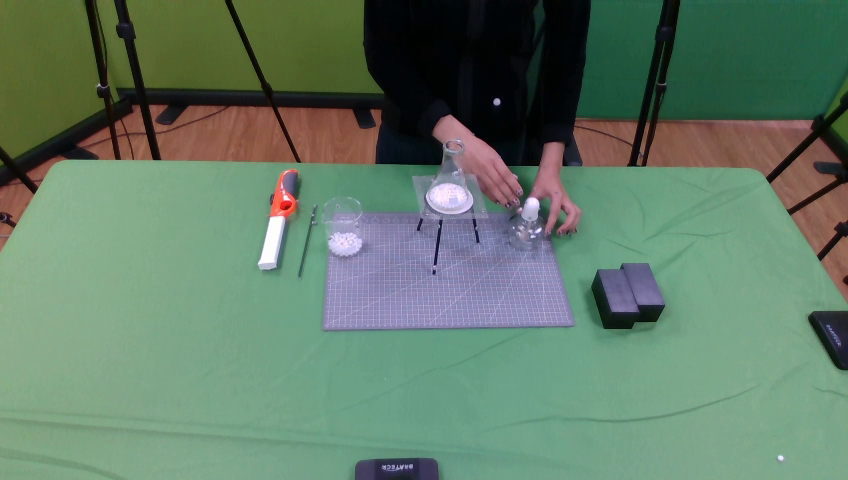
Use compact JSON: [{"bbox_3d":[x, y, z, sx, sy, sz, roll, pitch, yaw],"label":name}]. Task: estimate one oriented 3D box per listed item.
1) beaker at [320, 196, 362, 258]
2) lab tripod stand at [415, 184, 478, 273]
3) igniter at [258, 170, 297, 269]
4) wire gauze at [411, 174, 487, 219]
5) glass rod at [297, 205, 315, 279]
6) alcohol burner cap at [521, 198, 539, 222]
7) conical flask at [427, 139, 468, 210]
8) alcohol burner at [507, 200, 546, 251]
[{"bbox_3d":[-0.156,-0.021,1.150,0.084,0.101,0.073,-30,55,-28],"label":"beaker"},{"bbox_3d":[0.042,-0.031,1.152,0.148,0.132,0.147,3,44,-3],"label":"lab tripod stand"},{"bbox_3d":[-0.294,-0.050,1.221,0.057,0.025,0.274,-5,45,4],"label":"igniter"},{"bbox_3d":[0.044,-0.079,1.107,0.125,0.011,0.120,-4,44,-6],"label":"wire gauze"},{"bbox_3d":[-0.231,0.000,1.191,0.008,0.008,0.198,2,46,-1],"label":"glass rod"},{"bbox_3d":[0.204,-0.059,1.156,0.034,0.048,0.033,0,55,0],"label":"alcohol burner cap"},{"bbox_3d":[0.046,-0.117,1.061,0.075,0.122,0.075,3,46,-2],"label":"conical flask"},{"bbox_3d":[0.202,-0.036,1.183,0.078,0.120,0.077,2,48,-2],"label":"alcohol burner"}]
